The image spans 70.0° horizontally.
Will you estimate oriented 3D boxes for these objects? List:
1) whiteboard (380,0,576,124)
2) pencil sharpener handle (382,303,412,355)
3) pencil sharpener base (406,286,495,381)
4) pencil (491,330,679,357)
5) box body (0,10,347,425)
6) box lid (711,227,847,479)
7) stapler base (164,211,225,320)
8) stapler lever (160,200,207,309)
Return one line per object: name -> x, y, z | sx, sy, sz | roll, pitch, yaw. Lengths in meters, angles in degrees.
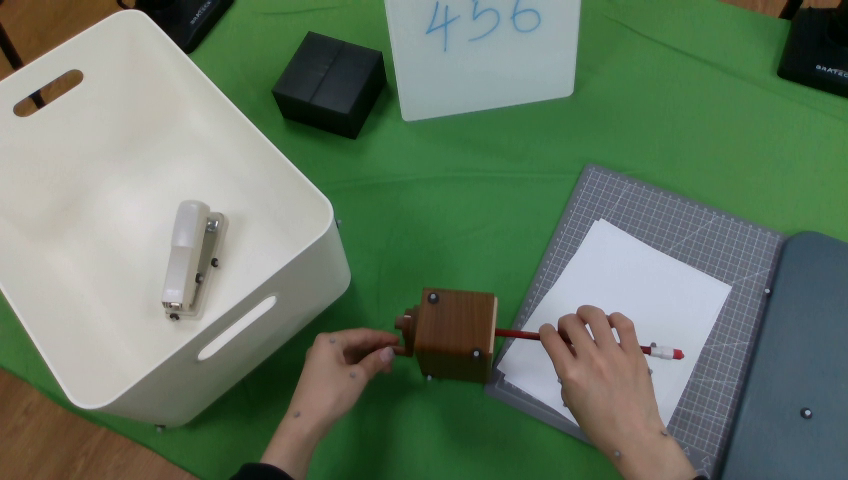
whiteboard -> 0.053, -0.316, 0.694 | 0.217, 0.308, 0.142 | -9, 45, 0
pencil sharpener handle -> -0.026, 0.086, 0.570 | 0.030, 0.068, 0.035 | 5, 44, 7
pencil sharpener base -> 0.026, 0.091, 0.579 | 0.076, 0.108, 0.061 | 5, 65, 7
pencil -> 0.133, 0.091, 0.545 | 0.194, 0.012, 0.012 | 5, 64, -1
box body -> -0.280, -0.024, 0.619 | 0.254, 0.161, 0.361 | -41, 69, -15
box lid -> 0.433, 0.176, 0.571 | 0.262, 0.015, 0.370 | 23, 68, 12
stapler base -> -0.254, 0.022, 0.666 | 0.041, 0.024, 0.129 | 3, 67, 7
stapler lever -> -0.256, 0.013, 0.642 | 0.027, 0.040, 0.117 | 3, 67, 7
